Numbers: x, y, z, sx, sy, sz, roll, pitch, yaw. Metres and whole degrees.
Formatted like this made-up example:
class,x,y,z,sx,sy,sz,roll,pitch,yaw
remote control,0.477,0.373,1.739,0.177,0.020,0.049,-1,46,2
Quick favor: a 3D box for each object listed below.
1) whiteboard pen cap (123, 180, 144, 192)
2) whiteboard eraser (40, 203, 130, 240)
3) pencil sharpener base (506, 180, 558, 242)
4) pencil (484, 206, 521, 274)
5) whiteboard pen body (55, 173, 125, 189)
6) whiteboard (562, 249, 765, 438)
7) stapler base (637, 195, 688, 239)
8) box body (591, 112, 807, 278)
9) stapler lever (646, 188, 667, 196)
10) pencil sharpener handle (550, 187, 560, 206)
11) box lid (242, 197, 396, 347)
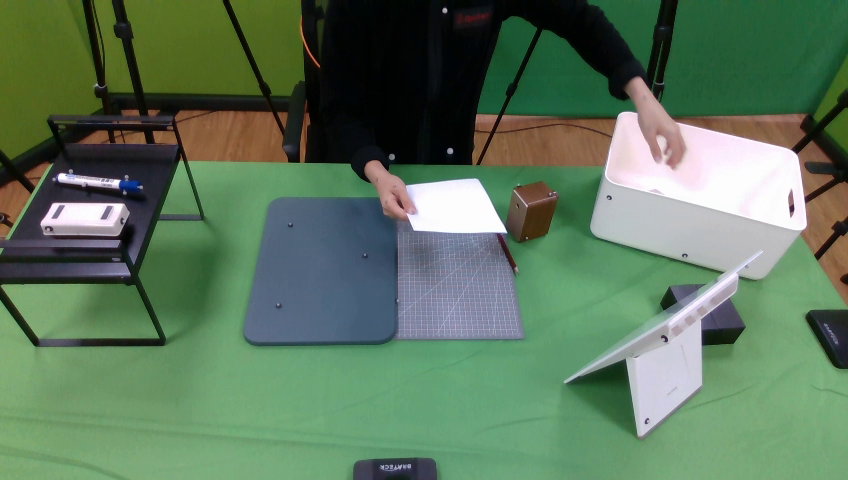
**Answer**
class,x,y,z,sx,sy,sz,roll,pitch,yaw
whiteboard pen cap,-0.479,-0.089,0.993,0.033,0.018,0.018,7,46,14
whiteboard eraser,-0.513,-0.028,0.922,0.113,0.042,0.055,1,48,-3
pencil sharpener base,0.216,-0.059,1.211,0.077,0.107,0.061,-16,49,-19
pencil,0.157,-0.003,1.217,0.012,0.012,0.192,-10,47,-14
whiteboard pen body,-0.539,-0.095,0.998,0.141,0.017,0.017,6,46,6
whiteboard,0.386,0.175,0.905,0.217,0.306,0.143,-26,72,-26
stapler base,0.507,-0.055,1.280,0.041,0.024,0.129,-14,47,-19
box body,0.540,-0.092,1.230,0.363,0.161,0.253,16,47,11
stapler lever,0.507,-0.075,1.262,0.027,0.040,0.117,-14,46,-19
pencil sharpener handle,0.261,-0.084,1.221,0.031,0.068,0.036,-16,66,-19
box lid,-0.186,0.046,1.147,0.263,0.015,0.369,0,46,-3
